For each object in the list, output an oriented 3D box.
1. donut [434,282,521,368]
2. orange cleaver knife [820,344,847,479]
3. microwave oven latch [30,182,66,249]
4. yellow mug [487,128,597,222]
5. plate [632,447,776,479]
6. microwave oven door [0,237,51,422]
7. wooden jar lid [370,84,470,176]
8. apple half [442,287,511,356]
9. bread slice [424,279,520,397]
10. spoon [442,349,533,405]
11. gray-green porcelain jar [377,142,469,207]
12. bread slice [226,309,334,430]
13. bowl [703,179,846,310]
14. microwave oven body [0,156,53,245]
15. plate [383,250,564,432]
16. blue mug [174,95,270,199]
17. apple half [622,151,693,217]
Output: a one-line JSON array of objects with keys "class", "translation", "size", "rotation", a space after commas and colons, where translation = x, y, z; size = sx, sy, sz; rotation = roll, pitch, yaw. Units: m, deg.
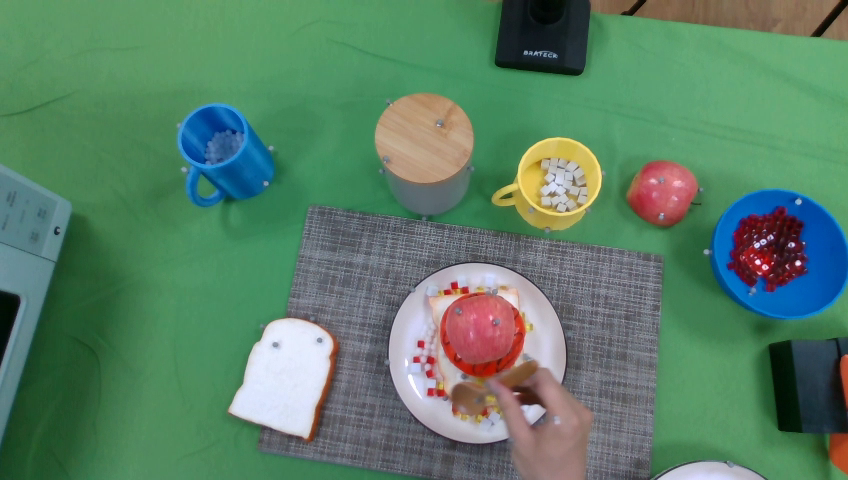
[{"class": "donut", "translation": [0.060, 0.096, 0.687], "size": [0.099, 0.048, 0.098], "rotation": [0, 76, 2]}, {"class": "orange cleaver knife", "translation": [0.460, 0.221, 0.657], "size": [0.012, 0.077, 0.211], "rotation": [-2, 98, -6]}, {"class": "microwave oven latch", "translation": [-0.468, -0.031, 0.744], "size": [0.030, 0.029, 0.079], "rotation": [12, 78, 4]}, {"class": "yellow mug", "translation": [0.141, -0.075, 0.744], "size": [0.131, 0.064, 0.099], "rotation": [-14, 76, -1]}, {"class": "plate", "translation": [0.306, 0.332, 0.657], "size": [0.209, 0.038, 0.208], "rotation": [0, 76, 2]}, {"class": "microwave oven door", "translation": [-0.508, 0.155, 0.596], "size": [0.039, 0.245, 0.354], "rotation": [8, 77, 4]}, {"class": "wooden jar lid", "translation": [-0.004, -0.118, 0.661], "size": [0.108, 0.021, 0.108], "rotation": [0, 75, -1]}, {"class": "apple half", "translation": [0.057, 0.085, 0.653], "size": [0.081, 0.033, 0.081], "rotation": [-2, 72, 6]}, {"class": "bread slice", "translation": [0.063, 0.115, 0.710], "size": [0.107, 0.018, 0.133], "rotation": [-8, 79, 0]}, {"class": "spoon", "translation": [0.060, 0.138, 0.600], "size": [0.041, 0.194, 0.021], "rotation": [46, 63, 4]}, {"class": "gray-green porcelain jar", "translation": [-0.001, -0.103, 0.723], "size": [0.106, 0.127, 0.105], "rotation": [0, 76, 2]}, {"class": "bread slice", "translation": [-0.167, 0.148, 0.721], "size": [0.105, 0.019, 0.131], "rotation": [16, 79, 4]}, {"class": "bowl", "translation": [0.393, 0.012, 0.710], "size": [0.151, 0.077, 0.150], "rotation": [0, 77, 2]}, {"class": "microwave oven body", "translation": [-0.645, 0.094, 0.619], "size": [0.326, 0.261, 0.439], "rotation": [8, 77, 3]}, {"class": "plate", "translation": [0.057, 0.117, 0.711], "size": [0.207, 0.039, 0.206], "rotation": [0, 77, 2]}, {"class": "blue mug", "translation": [-0.252, -0.102, 0.739], "size": [0.082, 0.106, 0.116], "rotation": [28, 79, 8]}, {"class": "apple half", "translation": [0.290, -0.075, 0.747], "size": [0.074, 0.053, 0.080], "rotation": [30, 80, 11]}]
